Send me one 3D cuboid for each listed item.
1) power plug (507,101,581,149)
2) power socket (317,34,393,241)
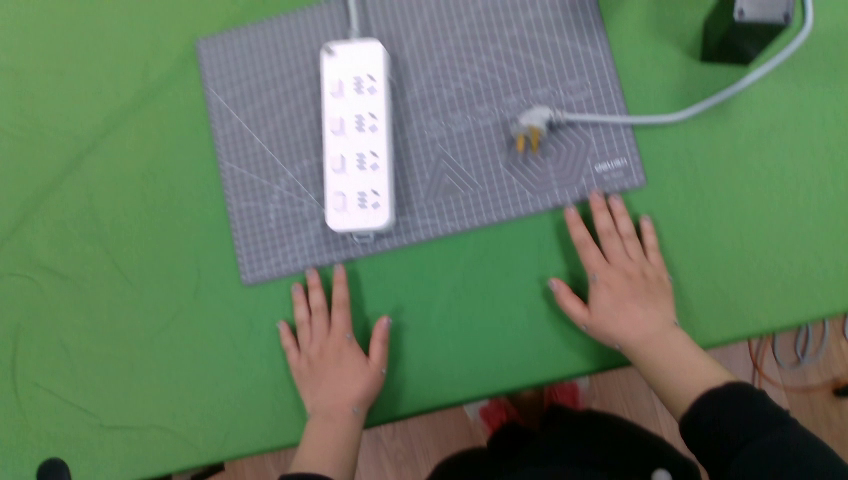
[{"bbox_3d":[0.122,-0.119,0.623,0.072,0.035,0.052,0,68,19],"label":"power plug"},{"bbox_3d":[-0.075,-0.113,0.655,0.072,0.033,0.226,-4,85,7],"label":"power socket"}]
